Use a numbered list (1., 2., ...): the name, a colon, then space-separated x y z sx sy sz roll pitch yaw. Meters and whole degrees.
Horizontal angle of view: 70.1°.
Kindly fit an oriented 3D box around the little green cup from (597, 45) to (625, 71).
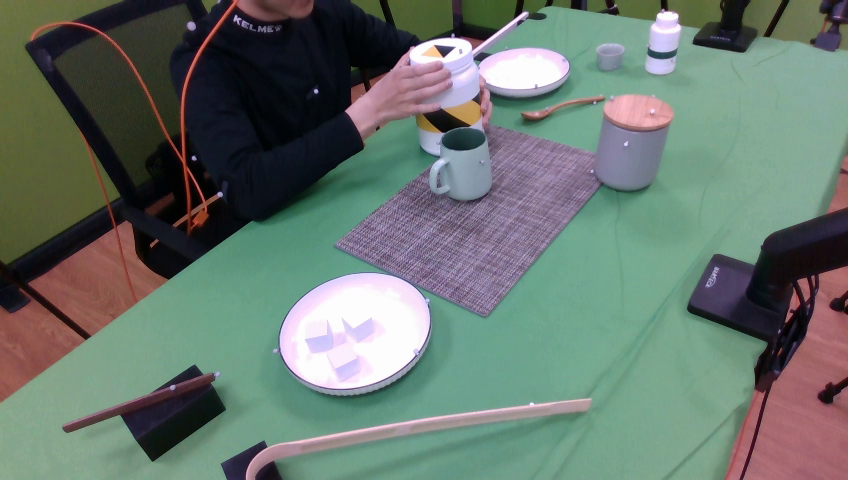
1. little green cup: 0.423 -0.413 1.375 0.061 0.039 0.061 -3 41 3

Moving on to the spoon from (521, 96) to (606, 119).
1. spoon: 0.291 -0.277 1.249 0.194 0.022 0.041 -17 25 -11

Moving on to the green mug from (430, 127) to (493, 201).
1. green mug: 0.059 -0.121 1.034 0.126 0.105 0.091 -35 48 -28

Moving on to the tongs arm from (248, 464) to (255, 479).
1. tongs arm: 0.012 0.262 0.614 0.385 0.026 0.050 3 42 -2

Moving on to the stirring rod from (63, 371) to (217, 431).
1. stirring rod: -0.337 0.192 0.723 0.177 0.014 0.005 -18 43 -12

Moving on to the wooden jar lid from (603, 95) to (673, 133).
1. wooden jar lid: 0.343 -0.200 0.973 0.108 0.021 0.108 -2 39 2

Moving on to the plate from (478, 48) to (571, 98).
1. plate: 0.223 -0.371 1.357 0.209 0.038 0.208 -4 41 4

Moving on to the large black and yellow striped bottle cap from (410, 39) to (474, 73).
1. large black and yellow striped bottle cap: 0.032 -0.333 1.092 0.115 0.019 0.114 -7 38 6

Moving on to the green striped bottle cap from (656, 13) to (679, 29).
1. green striped bottle cap: 0.515 -0.463 1.278 0.044 0.020 0.044 -6 42 6

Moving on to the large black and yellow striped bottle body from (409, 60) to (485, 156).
1. large black and yellow striped bottle body: 0.044 -0.267 1.145 0.131 0.185 0.130 -6 38 6

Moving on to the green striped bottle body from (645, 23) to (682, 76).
1. green striped bottle body: 0.520 -0.424 1.312 0.063 0.120 0.063 -4 41 4

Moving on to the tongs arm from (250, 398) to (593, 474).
1. tongs arm: 0.008 0.212 0.674 0.389 0.028 0.028 -5 46 -11

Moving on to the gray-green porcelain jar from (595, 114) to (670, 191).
1. gray-green porcelain jar: 0.346 -0.154 1.017 0.106 0.127 0.105 -2 44 2

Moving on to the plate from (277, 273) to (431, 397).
1. plate: -0.091 0.129 0.820 0.207 0.039 0.206 -4 40 4
